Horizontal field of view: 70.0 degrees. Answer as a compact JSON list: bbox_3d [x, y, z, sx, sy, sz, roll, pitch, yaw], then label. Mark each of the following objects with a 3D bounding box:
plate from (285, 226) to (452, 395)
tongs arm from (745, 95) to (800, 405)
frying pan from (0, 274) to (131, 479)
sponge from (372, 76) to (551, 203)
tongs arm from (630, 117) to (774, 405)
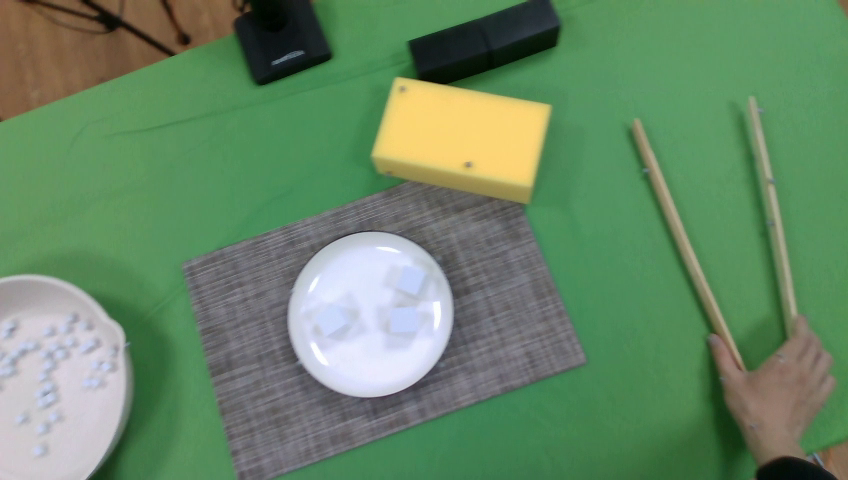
[{"bbox_3d":[-0.067,0.087,0.754,0.207,0.039,0.206,-1,76,4],"label":"plate"},{"bbox_3d":[0.413,0.004,0.744,0.051,0.026,0.382,-5,77,5],"label":"tongs arm"},{"bbox_3d":[-0.449,0.273,0.706,0.307,0.103,0.483,-28,67,-2],"label":"frying pan"},{"bbox_3d":[0.049,-0.132,0.790,0.206,0.061,0.117,12,75,9],"label":"sponge"},{"bbox_3d":[0.334,0.018,0.751,0.028,0.028,0.385,-17,75,-2],"label":"tongs arm"}]
